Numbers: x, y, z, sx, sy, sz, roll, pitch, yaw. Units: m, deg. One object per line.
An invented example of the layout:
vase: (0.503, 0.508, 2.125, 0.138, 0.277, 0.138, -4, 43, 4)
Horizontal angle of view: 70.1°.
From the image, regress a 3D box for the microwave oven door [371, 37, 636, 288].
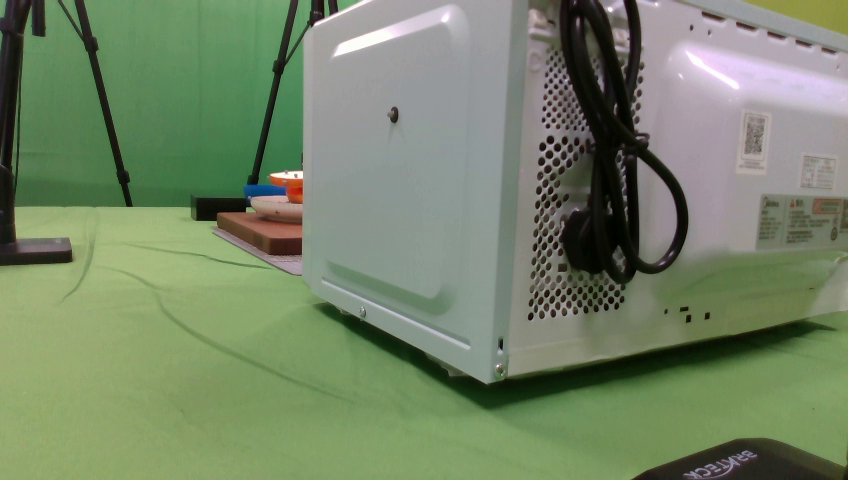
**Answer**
microwave oven door: (0.109, -0.080, 0.686, 0.358, 0.243, 0.039, -2, 9, -33)

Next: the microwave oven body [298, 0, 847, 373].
microwave oven body: (0.151, -0.055, 0.543, 0.444, 0.260, 0.324, -1, 8, -33)

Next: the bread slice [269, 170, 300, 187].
bread slice: (-0.213, -0.115, 1.112, 0.106, 0.018, 0.135, 9, 16, 38)

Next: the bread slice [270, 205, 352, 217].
bread slice: (-0.213, -0.054, 1.116, 0.104, 0.019, 0.132, 6, 5, 41)

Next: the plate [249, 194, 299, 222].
plate: (-0.217, -0.058, 1.122, 0.208, 0.039, 0.207, 3, 7, 0)

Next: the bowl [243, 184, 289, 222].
bowl: (-0.321, -0.081, 1.334, 0.151, 0.077, 0.151, 3, 7, 0)

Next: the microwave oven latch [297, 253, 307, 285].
microwave oven latch: (-0.082, 0.027, 0.582, 0.079, 0.029, 0.030, -1, 7, -32)

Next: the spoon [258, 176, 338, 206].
spoon: (-0.279, -0.112, 1.356, 0.194, 0.021, 0.041, -27, 19, -27)

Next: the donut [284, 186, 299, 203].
donut: (-0.210, -0.087, 1.124, 0.099, 0.048, 0.099, 3, 0, 0)
